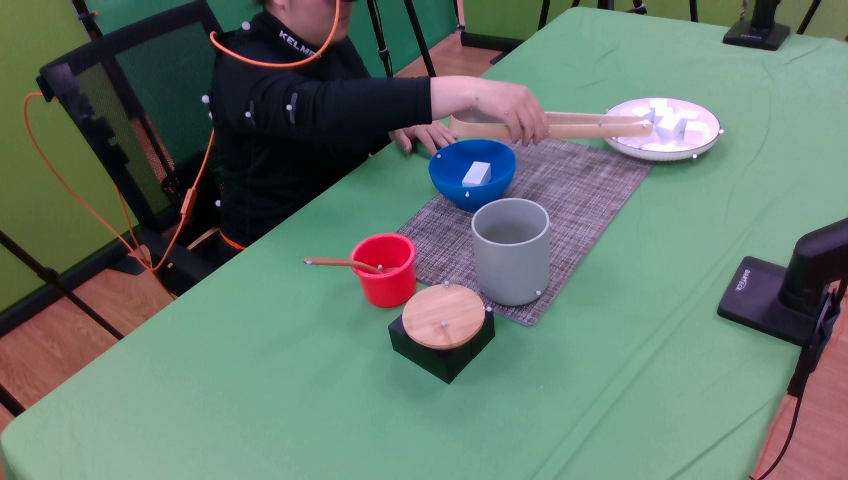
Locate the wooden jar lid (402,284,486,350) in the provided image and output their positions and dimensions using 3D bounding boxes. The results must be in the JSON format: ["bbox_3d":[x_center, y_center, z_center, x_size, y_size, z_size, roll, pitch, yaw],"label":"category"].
[{"bbox_3d":[0.026,0.101,0.786,0.108,0.021,0.108,-5,39,4],"label":"wooden jar lid"}]

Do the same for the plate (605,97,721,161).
[{"bbox_3d":[0.437,-0.203,1.126,0.209,0.038,0.208,-5,39,5],"label":"plate"}]

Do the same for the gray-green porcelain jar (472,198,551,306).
[{"bbox_3d":[0.125,0.021,0.850,0.106,0.127,0.105,-6,40,5],"label":"gray-green porcelain jar"}]

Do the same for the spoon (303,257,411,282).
[{"bbox_3d":[-0.092,0.038,0.865,0.195,0.021,0.041,16,15,-46],"label":"spoon"}]

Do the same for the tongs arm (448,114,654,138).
[{"bbox_3d":[0.227,-0.196,1.042,0.387,0.026,0.050,-5,40,-22],"label":"tongs arm"}]

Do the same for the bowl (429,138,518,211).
[{"bbox_3d":[0.087,-0.104,1.043,0.151,0.077,0.150,-5,40,5],"label":"bowl"}]

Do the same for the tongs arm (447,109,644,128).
[{"bbox_3d":[0.221,-0.210,1.059,0.390,0.028,0.028,-3,42,-19],"label":"tongs arm"}]
